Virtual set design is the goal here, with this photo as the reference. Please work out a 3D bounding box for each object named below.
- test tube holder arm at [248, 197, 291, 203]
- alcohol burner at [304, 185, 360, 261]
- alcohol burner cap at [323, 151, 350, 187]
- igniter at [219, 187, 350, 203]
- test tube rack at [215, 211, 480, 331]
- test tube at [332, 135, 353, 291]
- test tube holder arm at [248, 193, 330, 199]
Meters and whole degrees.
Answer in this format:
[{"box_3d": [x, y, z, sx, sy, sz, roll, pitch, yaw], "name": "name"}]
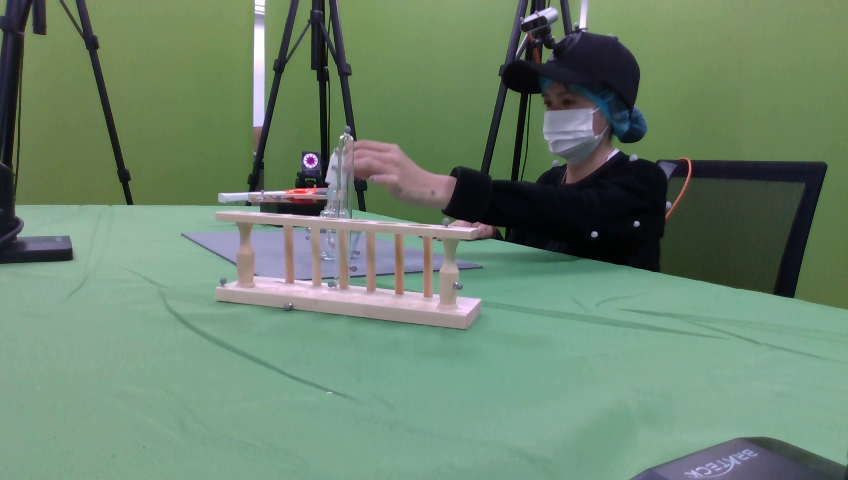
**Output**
[{"box_3d": [-0.303, -0.080, 1.191, 0.088, 0.010, 0.015, -7, 18, -39], "name": "test tube holder arm"}, {"box_3d": [-0.126, -0.031, 0.838, 0.078, 0.119, 0.078, 3, 5, 0], "name": "alcohol burner"}, {"box_3d": [-0.118, -0.098, 0.825, 0.034, 0.048, 0.034, 12, 15, -3], "name": "alcohol burner cap"}, {"box_3d": [-0.285, -0.094, 1.268, 0.278, 0.025, 0.057, -6, 12, -34], "name": "igniter"}, {"box_3d": [-0.071, 0.023, 0.565, 0.242, 0.085, 0.067, 5, 7, 16], "name": "test tube rack"}, {"box_3d": [-0.078, -0.025, 0.581, 0.017, 0.150, 0.017, 3, 7, 0], "name": "test tube"}, {"box_3d": [-0.268, -0.089, 1.218, 0.179, 0.013, 0.015, -6, 18, -40], "name": "test tube holder arm"}]
